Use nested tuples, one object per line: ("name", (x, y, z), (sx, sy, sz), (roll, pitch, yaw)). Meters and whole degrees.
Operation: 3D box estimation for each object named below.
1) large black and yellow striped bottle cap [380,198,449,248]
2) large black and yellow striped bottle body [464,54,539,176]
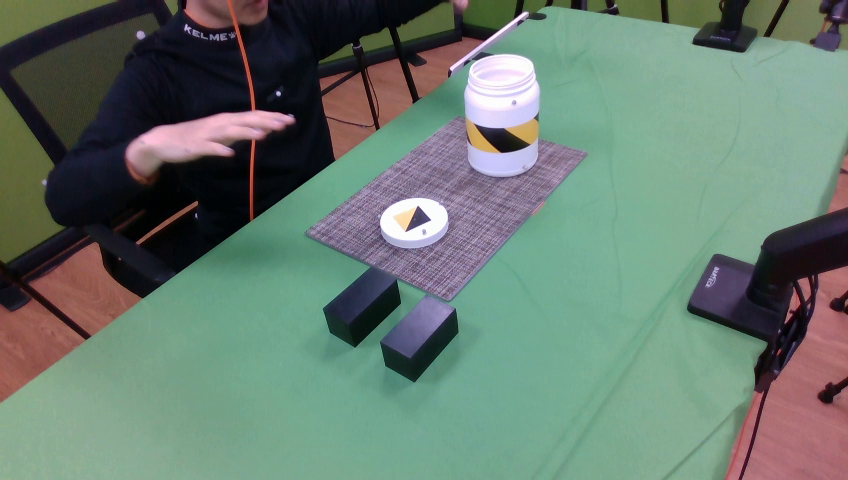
("large black and yellow striped bottle cap", (-0.016, -0.030, 1.004), (0.115, 0.019, 0.114), (-5, 40, 4))
("large black and yellow striped bottle body", (0.139, -0.221, 1.075), (0.131, 0.185, 0.130), (-4, 41, 4))
